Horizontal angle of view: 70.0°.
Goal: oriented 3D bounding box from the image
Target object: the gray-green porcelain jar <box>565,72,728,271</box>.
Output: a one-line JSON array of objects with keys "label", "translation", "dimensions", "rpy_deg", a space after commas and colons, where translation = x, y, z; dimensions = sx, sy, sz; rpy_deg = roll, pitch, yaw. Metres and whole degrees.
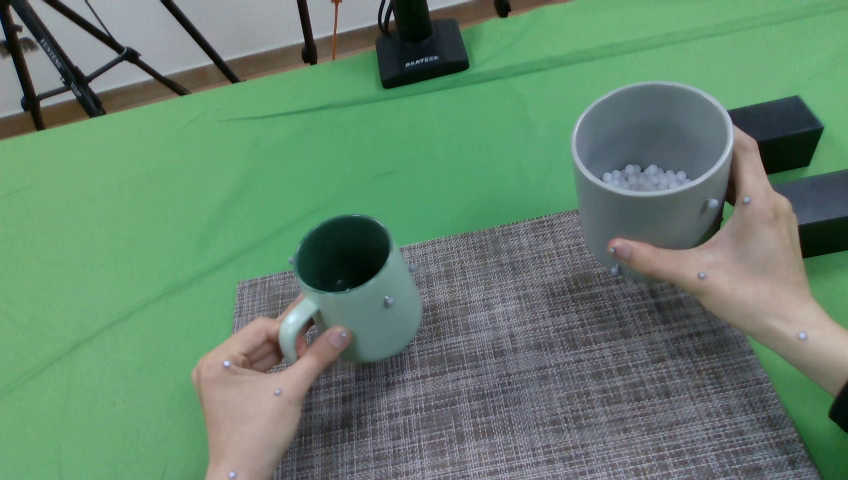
[{"label": "gray-green porcelain jar", "translation": [0.167, -0.044, 0.459], "dimensions": [0.105, 0.128, 0.105], "rpy_deg": [-10, 55, 15]}]

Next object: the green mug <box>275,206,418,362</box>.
[{"label": "green mug", "translation": [-0.067, 0.046, 0.491], "dimensions": [0.092, 0.106, 0.125], "rpy_deg": [30, 64, 29]}]
